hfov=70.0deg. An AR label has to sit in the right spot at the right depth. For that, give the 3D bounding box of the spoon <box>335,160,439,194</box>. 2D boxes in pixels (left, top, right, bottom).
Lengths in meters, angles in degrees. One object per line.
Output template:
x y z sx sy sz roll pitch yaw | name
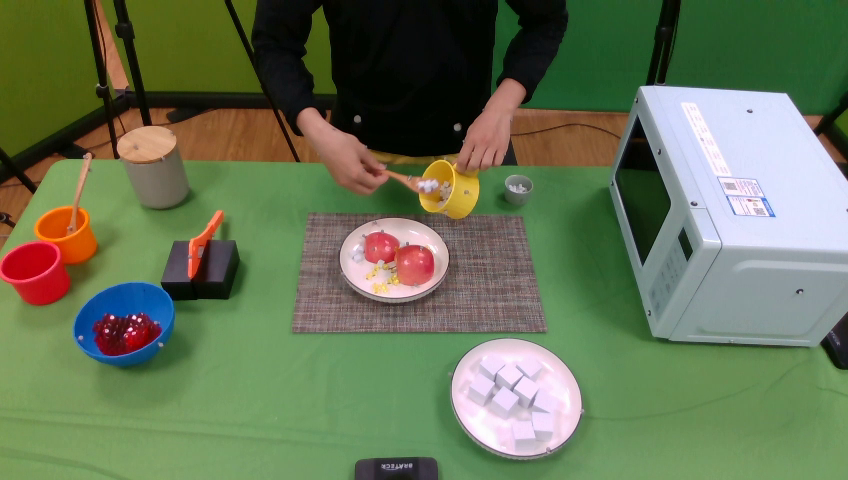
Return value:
-0.067 -0.118 1.085 0.194 0.022 0.041 17 53 2 | spoon

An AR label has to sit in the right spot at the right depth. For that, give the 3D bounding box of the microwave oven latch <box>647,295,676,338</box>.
0.413 0.133 1.060 0.030 0.029 0.078 4 46 1 | microwave oven latch

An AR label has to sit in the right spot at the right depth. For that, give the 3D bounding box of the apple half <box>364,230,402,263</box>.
-0.079 0.004 1.159 0.081 0.033 0.081 2 50 -2 | apple half

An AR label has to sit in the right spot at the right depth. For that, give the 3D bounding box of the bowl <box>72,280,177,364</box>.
-0.472 0.147 0.982 0.151 0.077 0.150 2 46 -2 | bowl

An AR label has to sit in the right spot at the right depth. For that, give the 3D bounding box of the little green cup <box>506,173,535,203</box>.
0.205 -0.111 1.302 0.061 0.039 0.061 1 45 -1 | little green cup

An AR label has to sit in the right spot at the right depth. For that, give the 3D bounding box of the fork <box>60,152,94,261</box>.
-0.638 -0.063 1.119 0.028 0.018 0.207 12 90 8 | fork

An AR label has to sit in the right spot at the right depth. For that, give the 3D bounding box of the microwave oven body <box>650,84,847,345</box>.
0.569 -0.054 1.115 0.326 0.261 0.439 2 46 -1 | microwave oven body

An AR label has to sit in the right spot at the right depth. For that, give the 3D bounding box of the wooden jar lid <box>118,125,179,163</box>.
-0.528 -0.181 1.167 0.108 0.021 0.107 4 48 -4 | wooden jar lid

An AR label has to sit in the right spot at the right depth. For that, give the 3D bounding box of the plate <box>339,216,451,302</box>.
-0.054 0.038 1.137 0.209 0.038 0.208 2 46 -2 | plate

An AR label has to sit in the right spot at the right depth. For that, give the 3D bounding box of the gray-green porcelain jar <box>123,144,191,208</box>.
-0.530 -0.137 1.213 0.106 0.127 0.105 2 46 -2 | gray-green porcelain jar

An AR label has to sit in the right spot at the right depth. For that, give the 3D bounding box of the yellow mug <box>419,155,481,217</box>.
0.055 -0.108 1.120 0.064 0.131 0.099 13 38 -41 | yellow mug

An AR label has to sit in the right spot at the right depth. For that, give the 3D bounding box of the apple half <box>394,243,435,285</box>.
-0.016 0.036 1.120 0.075 0.053 0.080 1 46 -6 | apple half

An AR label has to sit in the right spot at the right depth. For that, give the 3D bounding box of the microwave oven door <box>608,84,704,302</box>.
0.424 -0.096 1.138 0.039 0.245 0.353 2 47 -1 | microwave oven door

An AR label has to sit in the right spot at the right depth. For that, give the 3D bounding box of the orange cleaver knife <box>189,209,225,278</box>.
-0.400 0.002 1.122 0.012 0.077 0.210 4 23 -4 | orange cleaver knife

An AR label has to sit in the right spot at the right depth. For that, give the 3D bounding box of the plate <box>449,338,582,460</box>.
0.141 0.251 0.956 0.208 0.039 0.206 2 47 -2 | plate
